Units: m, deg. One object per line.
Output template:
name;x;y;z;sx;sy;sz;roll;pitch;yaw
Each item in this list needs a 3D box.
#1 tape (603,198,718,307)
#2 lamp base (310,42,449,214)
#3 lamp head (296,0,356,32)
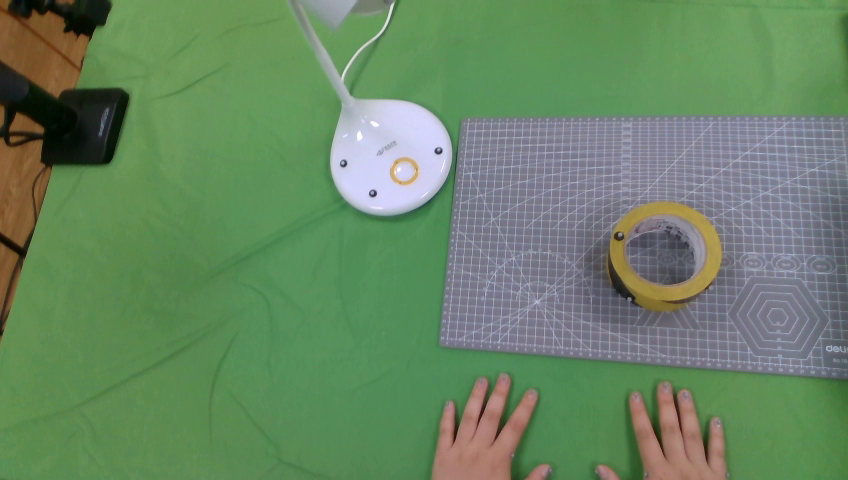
tape;0.254;0.014;0.658;0.116;0.053;0.116;-3;71;10
lamp base;-0.071;-0.140;0.709;0.160;0.182;0.178;-45;67;-5
lamp head;-0.080;-0.226;0.422;0.123;0.112;0.112;34;80;-15
